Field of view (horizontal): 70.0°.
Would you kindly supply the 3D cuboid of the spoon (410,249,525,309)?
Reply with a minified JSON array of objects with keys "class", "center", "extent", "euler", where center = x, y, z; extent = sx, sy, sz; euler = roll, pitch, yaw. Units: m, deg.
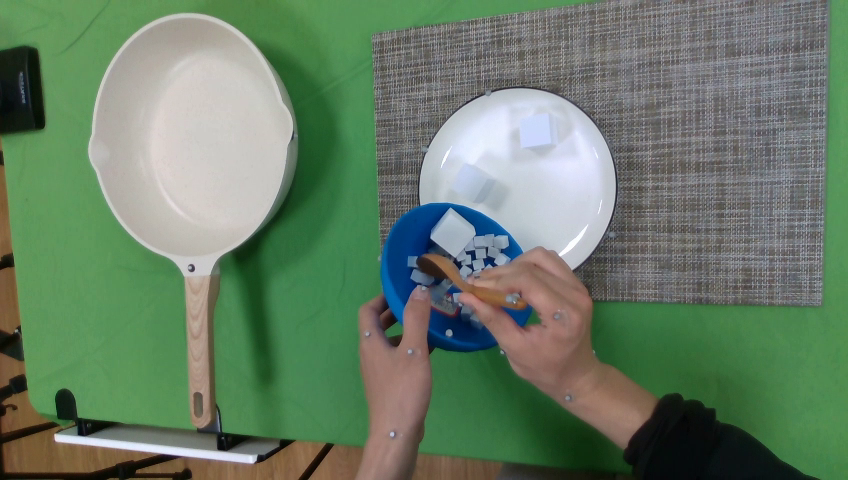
[{"class":"spoon","center":[0.032,0.033,0.495],"extent":[0.042,0.192,0.021],"euler":[39,86,-22]}]

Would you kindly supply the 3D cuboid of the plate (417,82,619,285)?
[{"class":"plate","center":[0.096,-0.056,0.631],"extent":[0.207,0.039,0.208],"euler":[2,96,21]}]

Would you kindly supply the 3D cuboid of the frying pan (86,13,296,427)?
[{"class":"frying pan","center":[-0.278,-0.019,0.743],"extent":[0.305,0.103,0.487],"euler":[-2,86,22]}]

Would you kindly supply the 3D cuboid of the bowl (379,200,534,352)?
[{"class":"bowl","center":[0.020,0.046,0.576],"extent":[0.151,0.151,0.077],"euler":[48,142,10]}]
